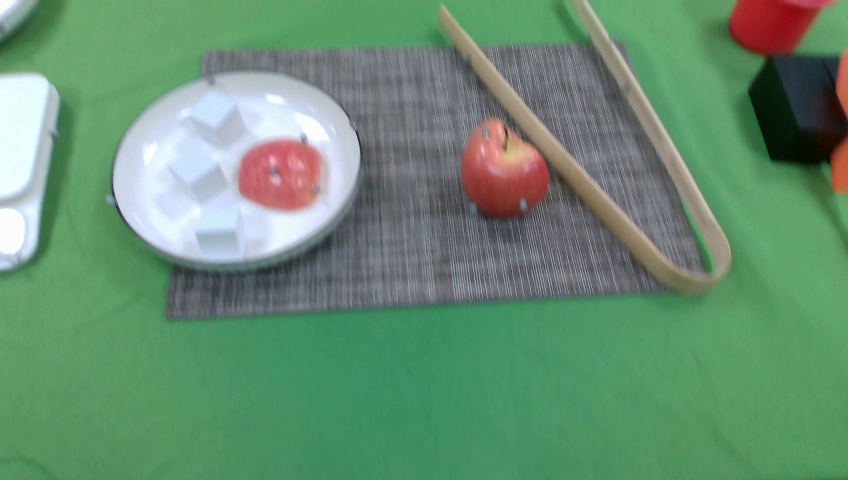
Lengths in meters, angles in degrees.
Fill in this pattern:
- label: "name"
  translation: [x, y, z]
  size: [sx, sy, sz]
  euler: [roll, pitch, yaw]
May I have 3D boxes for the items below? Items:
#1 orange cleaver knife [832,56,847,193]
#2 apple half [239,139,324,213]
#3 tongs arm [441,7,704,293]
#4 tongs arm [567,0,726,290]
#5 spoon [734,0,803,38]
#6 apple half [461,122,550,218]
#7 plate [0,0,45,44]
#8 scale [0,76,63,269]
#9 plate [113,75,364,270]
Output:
- label: "orange cleaver knife"
  translation: [0.398, -0.069, 0.546]
  size: [0.012, 0.077, 0.211]
  euler: [3, 88, -5]
- label: "apple half"
  translation: [-0.126, -0.064, 0.531]
  size: [0.081, 0.033, 0.080]
  euler: [3, 58, -5]
- label: "tongs arm"
  translation: [0.119, -0.101, 0.579]
  size: [0.028, 0.028, 0.384]
  euler: [-23, 63, -21]
- label: "tongs arm"
  translation: [0.197, -0.126, 0.597]
  size: [0.051, 0.027, 0.381]
  euler: [-12, 61, -11]
- label: "spoon"
  translation: [0.427, -0.277, 0.639]
  size: [0.193, 0.022, 0.041]
  euler: [-33, 50, 30]
- label: "apple half"
  translation: [0.062, -0.052, 0.519]
  size: [0.053, 0.075, 0.080]
  euler: [-38, 71, -19]
- label: "plate"
  translation: [-0.502, -0.252, 0.637]
  size: [0.208, 0.039, 0.205]
  euler: [1, 58, -2]
- label: "scale"
  translation: [-0.404, -0.060, 0.527]
  size: [0.149, 0.032, 0.199]
  euler: [-7, 59, -7]
- label: "plate"
  translation: [-0.157, -0.060, 0.532]
  size: [0.209, 0.038, 0.207]
  euler: [2, 58, -2]
